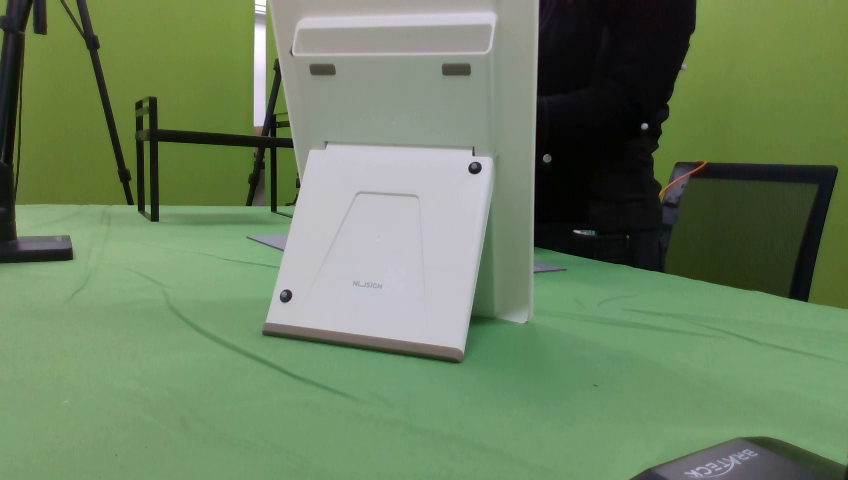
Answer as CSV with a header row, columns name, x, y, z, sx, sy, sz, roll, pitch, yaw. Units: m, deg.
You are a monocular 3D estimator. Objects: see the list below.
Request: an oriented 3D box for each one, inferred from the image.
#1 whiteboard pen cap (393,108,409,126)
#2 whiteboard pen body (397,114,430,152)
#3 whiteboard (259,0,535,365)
name,x,y,z,sx,sy,sz,roll,pitch,yaw
whiteboard pen cap,-0.034,-0.182,0.900,0.018,0.018,0.033,5,-12,17
whiteboard pen body,-0.017,-0.169,0.955,0.017,0.017,0.141,5,-11,20
whiteboard,-0.037,-0.041,0.457,0.216,0.305,0.144,5,28,19
